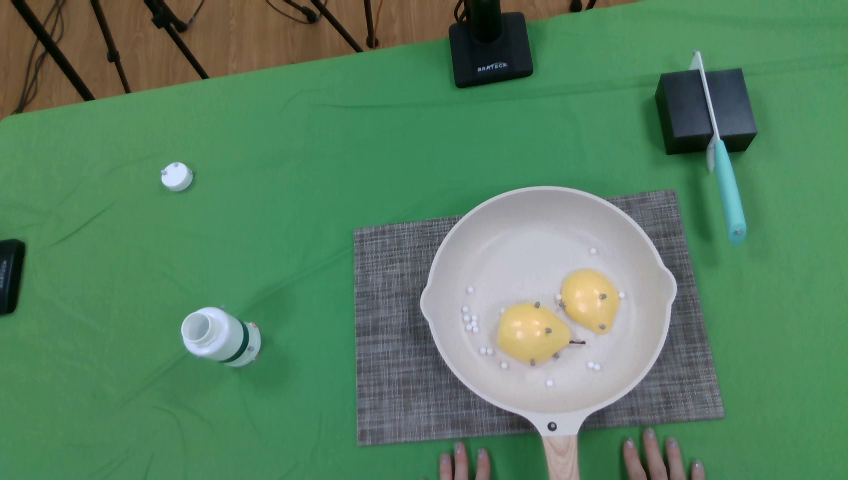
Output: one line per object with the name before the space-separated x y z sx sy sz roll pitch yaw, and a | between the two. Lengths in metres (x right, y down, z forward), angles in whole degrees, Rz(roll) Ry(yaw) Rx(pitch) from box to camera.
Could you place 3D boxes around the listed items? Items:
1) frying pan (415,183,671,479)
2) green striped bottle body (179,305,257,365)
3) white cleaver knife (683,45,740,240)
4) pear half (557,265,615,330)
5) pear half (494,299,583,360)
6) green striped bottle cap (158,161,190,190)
frying pan | 0.146 0.163 0.715 0.306 0.104 0.483 -5 62 9
green striped bottle body | -0.273 0.124 0.794 0.063 0.120 0.063 -3 70 9
white cleaver knife | 0.378 -0.133 0.804 0.021 0.066 0.284 -6 68 14
pear half | 0.209 0.070 0.774 0.070 0.031 0.087 -23 65 6
pear half | 0.144 0.113 0.758 0.109 0.056 0.076 5 77 9
green striped bottle cap | -0.392 -0.101 0.949 0.044 0.020 0.044 -3 70 9
